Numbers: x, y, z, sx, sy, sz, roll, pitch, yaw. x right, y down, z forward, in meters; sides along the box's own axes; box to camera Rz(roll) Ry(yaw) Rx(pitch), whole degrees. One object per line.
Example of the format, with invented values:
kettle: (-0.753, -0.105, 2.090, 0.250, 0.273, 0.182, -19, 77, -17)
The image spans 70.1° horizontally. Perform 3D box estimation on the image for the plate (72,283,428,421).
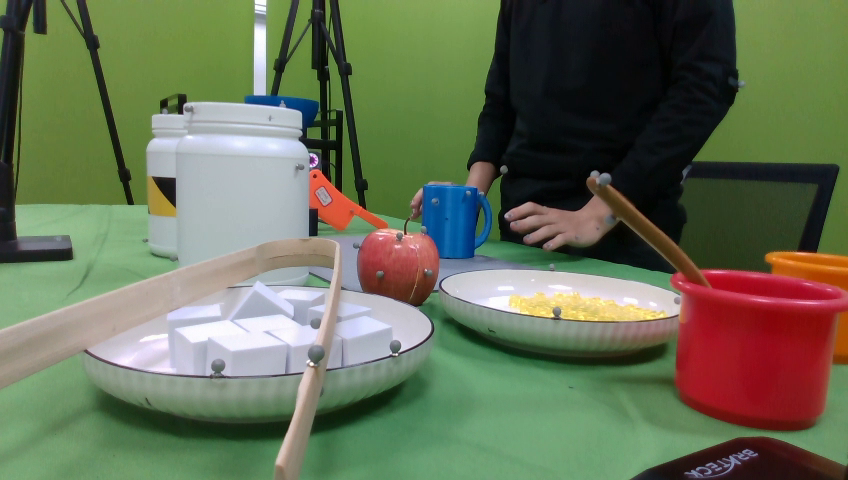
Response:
plate: (-0.102, 0.066, 0.381, 0.208, 0.039, 0.207, 2, 7, 0)

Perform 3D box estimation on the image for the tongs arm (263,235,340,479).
tongs arm: (-0.074, 0.039, 0.349, 0.051, 0.026, 0.384, -2, 10, -3)

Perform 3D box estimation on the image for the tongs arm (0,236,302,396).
tongs arm: (-0.158, 0.038, 0.351, 0.028, 0.028, 0.388, -3, 8, 12)

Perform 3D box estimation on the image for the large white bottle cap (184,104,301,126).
large white bottle cap: (-0.184, -0.126, 0.618, 0.115, 0.018, 0.115, 2, 8, 0)

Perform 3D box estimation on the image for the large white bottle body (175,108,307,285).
large white bottle body: (-0.188, -0.042, 0.630, 0.131, 0.184, 0.130, 2, 8, 0)

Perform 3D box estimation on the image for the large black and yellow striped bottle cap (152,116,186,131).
large black and yellow striped bottle cap: (-0.309, -0.155, 0.826, 0.115, 0.019, 0.115, 3, 6, 0)

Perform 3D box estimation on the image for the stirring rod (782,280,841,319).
stirring rod: (0.344, 0.019, 0.461, 0.014, 0.006, 0.176, -13, -27, -30)

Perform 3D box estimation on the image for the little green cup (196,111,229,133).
little green cup: (-0.403, -0.225, 1.154, 0.061, 0.038, 0.061, 3, 8, 0)

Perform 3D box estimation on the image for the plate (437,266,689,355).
plate: (0.114, 0.057, 0.518, 0.209, 0.038, 0.209, 3, 7, 0)

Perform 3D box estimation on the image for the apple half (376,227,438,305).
apple half: (-0.017, 0.026, 0.593, 0.080, 0.074, 0.053, 4, 2, 43)

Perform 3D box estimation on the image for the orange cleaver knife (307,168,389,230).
orange cleaver knife: (-0.158, -0.060, 1.166, 0.212, 0.077, 0.012, 34, -12, -32)

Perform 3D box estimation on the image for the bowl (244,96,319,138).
bowl: (-0.295, -0.252, 1.254, 0.151, 0.077, 0.151, 2, 8, 0)

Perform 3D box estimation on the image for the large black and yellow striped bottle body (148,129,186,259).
large black and yellow striped bottle body: (-0.310, -0.073, 0.838, 0.131, 0.184, 0.130, 2, 8, 0)

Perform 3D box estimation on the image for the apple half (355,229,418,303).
apple half: (-0.043, 0.027, 0.564, 0.081, 0.081, 0.033, 9, 5, 42)

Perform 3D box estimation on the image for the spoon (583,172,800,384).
spoon: (0.159, 0.026, 0.358, 0.194, 0.021, 0.041, 46, -2, -14)

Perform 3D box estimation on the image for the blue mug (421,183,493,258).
blue mug: (0.052, -0.032, 0.912, 0.117, 0.106, 0.082, -1, 8, -24)

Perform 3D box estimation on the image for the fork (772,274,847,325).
fork: (0.332, 0.018, 0.443, 0.028, 0.018, 0.207, -1, -36, -15)
